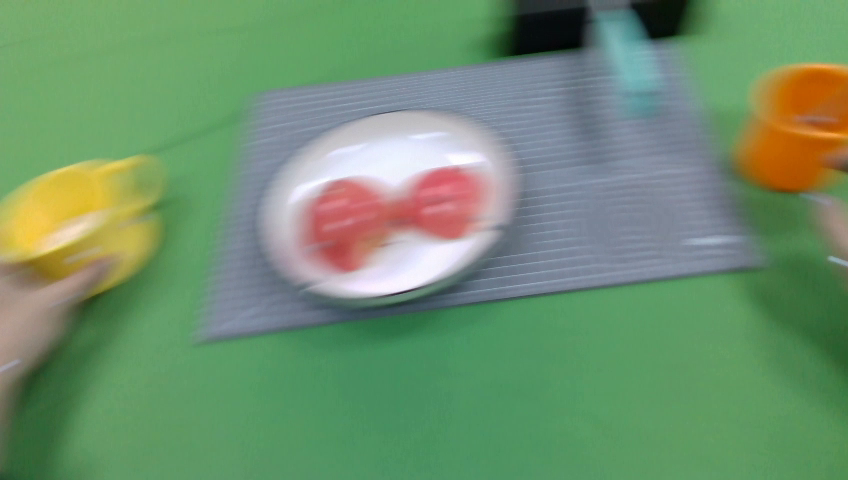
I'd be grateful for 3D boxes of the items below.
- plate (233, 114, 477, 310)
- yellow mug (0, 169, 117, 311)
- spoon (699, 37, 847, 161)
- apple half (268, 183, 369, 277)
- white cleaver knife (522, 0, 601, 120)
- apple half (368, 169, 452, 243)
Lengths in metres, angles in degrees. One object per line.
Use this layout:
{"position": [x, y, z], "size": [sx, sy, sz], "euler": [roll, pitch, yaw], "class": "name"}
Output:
{"position": [-0.058, -0.026, 0.527], "size": [0.209, 0.038, 0.207], "euler": [-2, 54, 4], "class": "plate"}
{"position": [-0.321, -0.010, 0.524], "size": [0.099, 0.064, 0.130], "euler": [19, 57, 20], "class": "yellow mug"}
{"position": [0.316, -0.132, 0.501], "size": [0.022, 0.194, 0.041], "euler": [20, 40, -35], "class": "spoon"}
{"position": [-0.091, -0.017, 0.503], "size": [0.074, 0.054, 0.080], "euler": [30, 62, 27], "class": "apple half"}
{"position": [0.133, -0.215, 0.628], "size": [0.021, 0.066, 0.283], "euler": [-11, 50, 3], "class": "white cleaver knife"}
{"position": [-0.014, -0.037, 0.522], "size": [0.081, 0.033, 0.080], "euler": [-2, 57, 4], "class": "apple half"}
